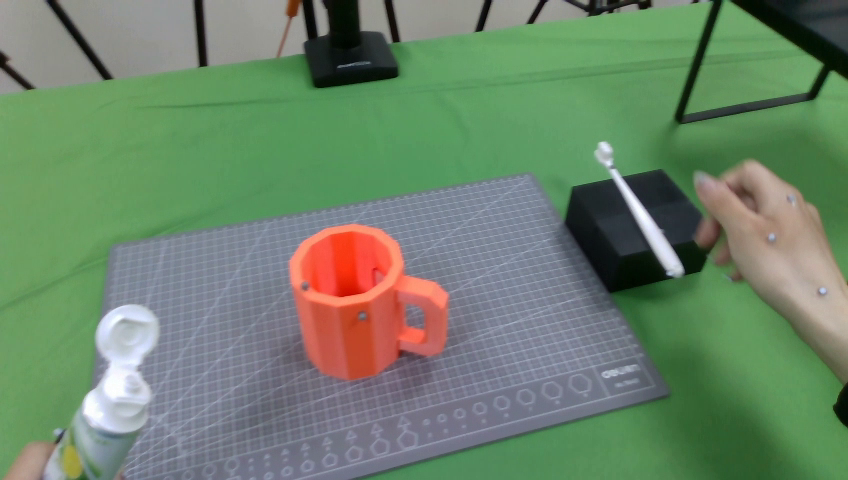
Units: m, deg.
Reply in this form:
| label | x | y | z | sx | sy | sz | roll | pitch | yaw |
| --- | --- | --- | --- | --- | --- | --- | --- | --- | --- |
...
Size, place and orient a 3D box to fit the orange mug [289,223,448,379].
| label | x | y | z | sx | sy | sz | roll | pitch | yaw |
| --- | --- | --- | --- | --- | --- | --- | --- | --- | --- |
| orange mug | -0.042 | 0.053 | 0.488 | 0.126 | 0.102 | 0.083 | 9 | 45 | 15 |

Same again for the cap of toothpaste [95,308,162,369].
| label | x | y | z | sx | sy | sz | roll | pitch | yaw |
| --- | --- | --- | --- | --- | --- | --- | --- | --- | --- |
| cap of toothpaste | -0.170 | 0.057 | 0.350 | 0.037 | 0.037 | 0.011 | -38 | 24 | -31 |

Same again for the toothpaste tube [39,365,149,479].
| label | x | y | z | sx | sy | sz | roll | pitch | yaw |
| --- | --- | --- | --- | --- | --- | --- | --- | --- | --- |
| toothpaste tube | -0.205 | 0.139 | 0.355 | 0.054 | 0.165 | 0.035 | 40 | 17 | 27 |

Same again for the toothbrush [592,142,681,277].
| label | x | y | z | sx | sy | sz | roll | pitch | yaw |
| --- | --- | --- | --- | --- | --- | --- | --- | --- | --- |
| toothbrush | 0.197 | -0.035 | 0.570 | 0.014 | 0.017 | 0.180 | -5 | 46 | -10 |
